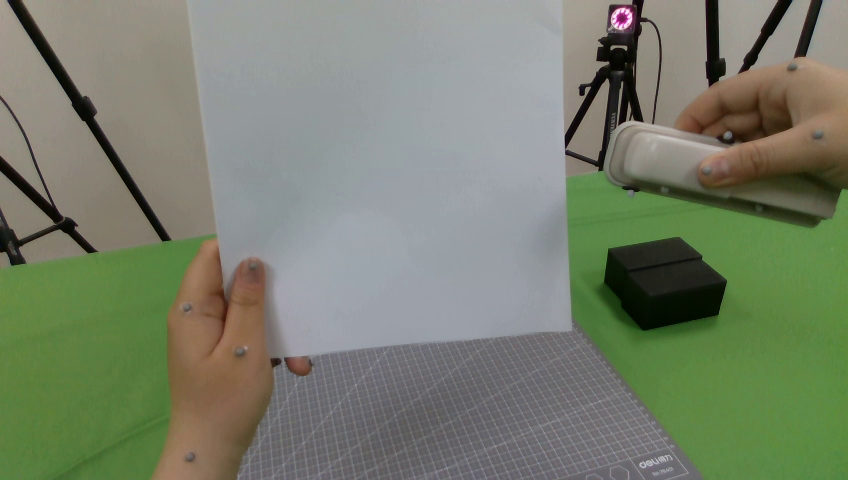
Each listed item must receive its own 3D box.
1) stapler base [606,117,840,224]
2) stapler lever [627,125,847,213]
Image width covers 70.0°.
[{"bbox_3d":[0.176,-0.042,0.356,0.130,0.041,0.024,13,11,6],"label":"stapler base"},{"bbox_3d":[0.174,-0.040,0.336,0.118,0.027,0.040,14,11,11],"label":"stapler lever"}]
